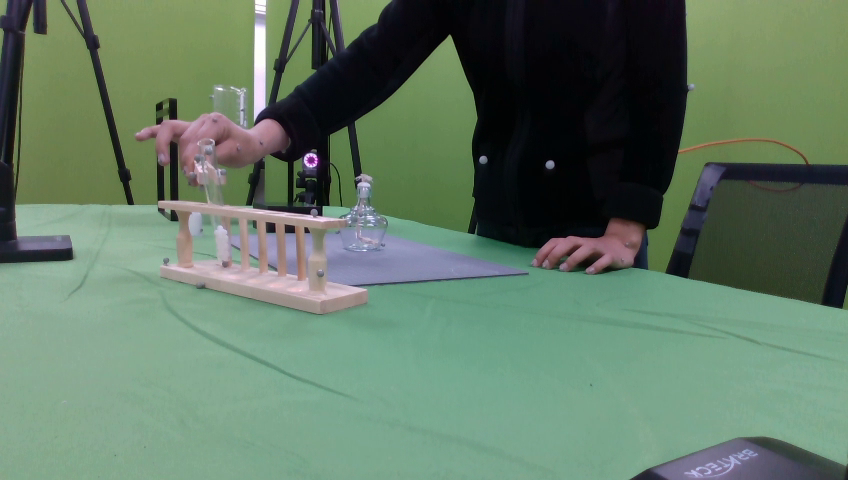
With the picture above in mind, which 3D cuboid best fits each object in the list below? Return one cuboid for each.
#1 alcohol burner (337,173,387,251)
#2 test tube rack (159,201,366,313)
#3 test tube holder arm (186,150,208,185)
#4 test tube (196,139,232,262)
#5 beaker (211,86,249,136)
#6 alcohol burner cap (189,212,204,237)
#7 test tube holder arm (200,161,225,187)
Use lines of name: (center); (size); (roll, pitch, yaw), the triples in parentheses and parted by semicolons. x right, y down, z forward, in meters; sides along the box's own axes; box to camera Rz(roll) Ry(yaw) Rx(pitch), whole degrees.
alcohol burner: (-0.095, -0.043, 0.926); (0.078, 0.119, 0.078); (3, 6, 0)
test tube rack: (-0.173, 0.009, 0.624); (0.241, 0.085, 0.067); (7, 9, 34)
test tube holder arm: (-0.265, -0.087, 0.703); (0.013, 0.015, 0.177); (7, 12, -29)
test tube: (-0.216, -0.036, 0.628); (0.017, 0.150, 0.017); (3, 39, -2)
beaker: (-0.413, -0.274, 1.297); (0.074, 0.100, 0.083); (-5, 11, -44)
alcohol burner cap: (-0.390, -0.029, 1.025); (0.034, 0.048, 0.034); (2, 8, 0)
test tube holder arm: (-0.239, -0.074, 0.669); (0.010, 0.015, 0.087); (3, 14, -38)
